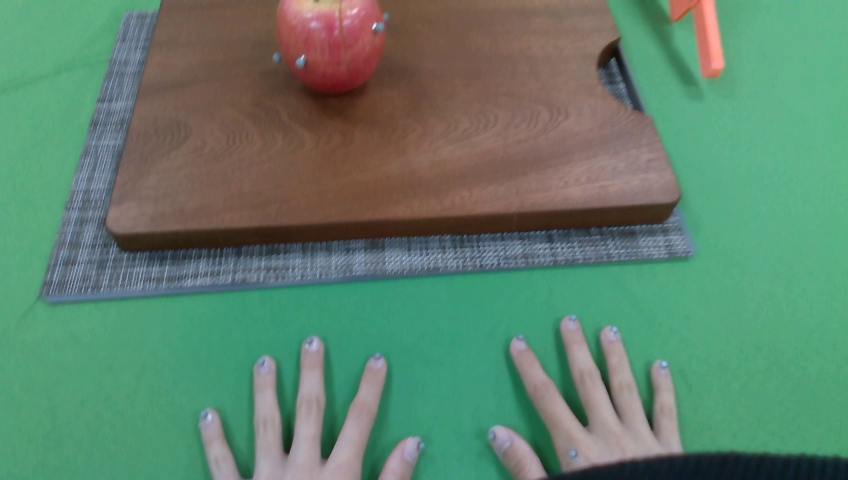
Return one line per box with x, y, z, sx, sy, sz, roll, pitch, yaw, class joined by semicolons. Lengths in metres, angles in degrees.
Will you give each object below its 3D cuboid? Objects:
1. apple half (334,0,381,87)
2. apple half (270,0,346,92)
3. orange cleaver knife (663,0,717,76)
-0.049;-0.158;0.462;0.033;0.082;0.080;-6;57;-2;apple half
-0.088;-0.154;0.460;0.053;0.075;0.080;-6;61;-2;apple half
0.241;-0.242;0.561;0.012;0.077;0.210;0;79;-6;orange cleaver knife
